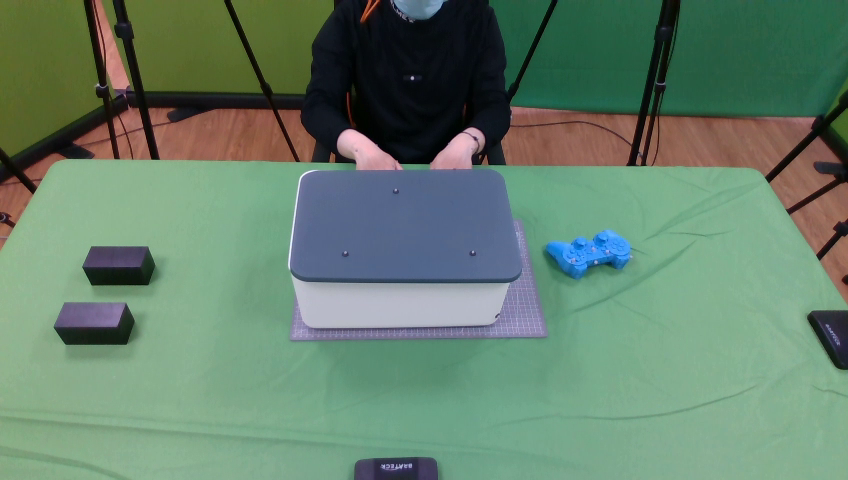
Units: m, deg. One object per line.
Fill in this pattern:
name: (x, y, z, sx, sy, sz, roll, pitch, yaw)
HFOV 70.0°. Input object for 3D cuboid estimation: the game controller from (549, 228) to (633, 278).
game controller: (0.331, 0.016, 1.182, 0.155, 0.052, 0.096, -12, 52, -13)

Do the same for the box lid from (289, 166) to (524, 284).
box lid: (-0.028, -0.032, 1.013, 0.372, 0.015, 0.261, 0, 48, -5)

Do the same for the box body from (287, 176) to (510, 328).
box body: (-0.040, 0.015, 1.075, 0.364, 0.161, 0.252, -1, 47, -4)
